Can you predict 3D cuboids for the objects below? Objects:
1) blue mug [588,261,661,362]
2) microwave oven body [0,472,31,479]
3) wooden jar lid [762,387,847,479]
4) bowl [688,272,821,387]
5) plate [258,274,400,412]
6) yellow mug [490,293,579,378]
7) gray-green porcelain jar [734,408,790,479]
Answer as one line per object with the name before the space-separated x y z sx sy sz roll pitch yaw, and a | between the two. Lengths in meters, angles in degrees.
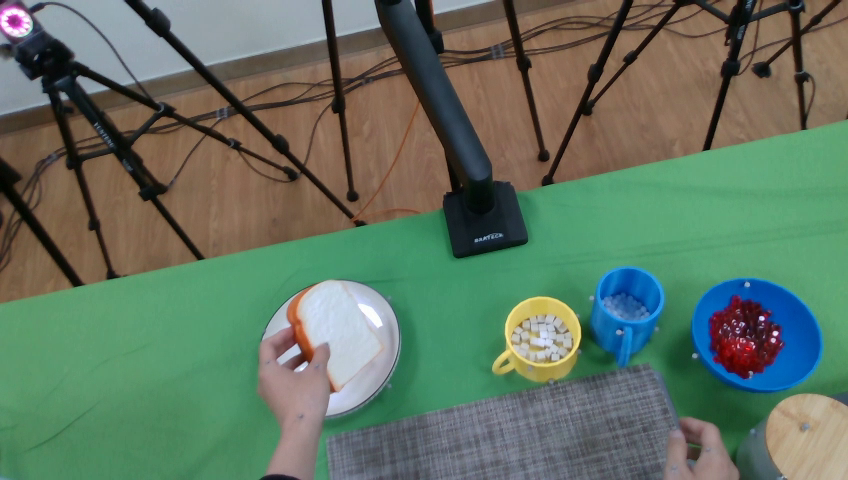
blue mug | 0.261 0.103 0.800 0.082 0.107 0.115 5 61 13
microwave oven body | -0.549 0.498 0.602 0.326 0.262 0.437 -11 59 2
wooden jar lid | 0.406 0.208 0.627 0.108 0.021 0.107 -2 61 5
bowl | 0.411 0.125 0.778 0.151 0.077 0.150 -4 59 7
plate | -0.135 0.149 0.878 0.207 0.039 0.206 -4 60 7
yellow mug | 0.145 0.138 0.821 0.131 0.064 0.099 -31 59 -8
gray-green porcelain jar | 0.417 0.240 0.680 0.106 0.128 0.105 -4 59 7
